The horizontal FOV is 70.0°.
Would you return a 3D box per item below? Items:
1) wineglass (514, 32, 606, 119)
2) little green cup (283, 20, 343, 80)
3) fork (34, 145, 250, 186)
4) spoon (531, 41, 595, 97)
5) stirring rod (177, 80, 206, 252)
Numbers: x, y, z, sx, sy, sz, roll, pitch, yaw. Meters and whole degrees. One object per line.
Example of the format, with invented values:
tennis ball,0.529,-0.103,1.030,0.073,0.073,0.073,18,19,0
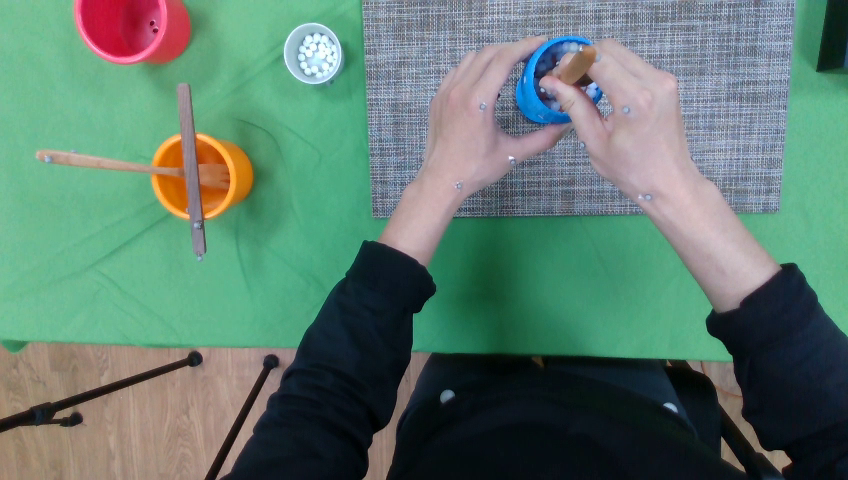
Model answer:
wineglass,0.122,-0.149,0.572,0.073,0.172,0.074,1,100,5
little green cup,-0.117,-0.201,0.652,0.061,0.038,0.062,1,101,5
fork,-0.283,-0.078,0.631,0.209,0.018,0.028,3,112,-41
spoon,0.108,-0.128,0.463,0.041,0.193,0.022,26,102,0
stirring rod,-0.240,-0.075,0.626,0.014,0.006,0.176,-1,100,4
